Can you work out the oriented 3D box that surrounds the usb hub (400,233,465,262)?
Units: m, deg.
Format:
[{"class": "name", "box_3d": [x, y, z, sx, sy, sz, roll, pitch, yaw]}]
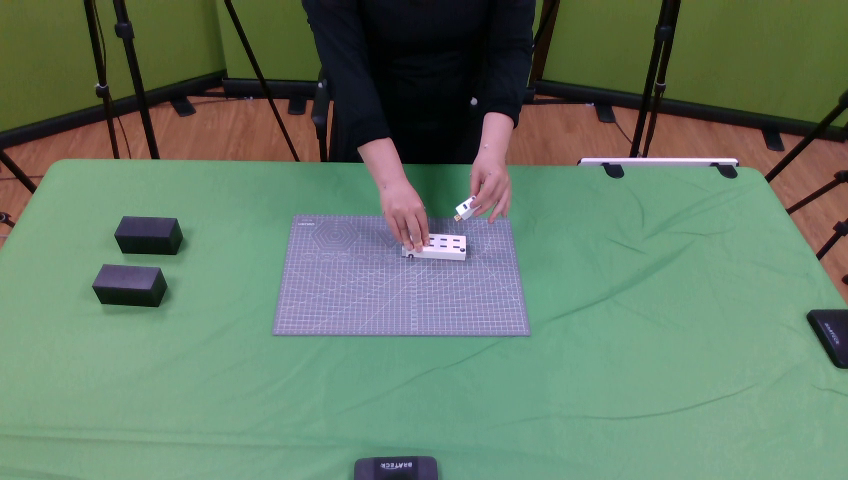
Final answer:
[{"class": "usb hub", "box_3d": [0.018, 0.013, 1.180, 0.125, 0.025, 0.049, 4, 47, 0]}]

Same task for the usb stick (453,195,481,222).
[{"class": "usb stick", "box_3d": [0.077, -0.057, 1.140, 0.059, 0.027, 0.021, -36, 61, 11]}]
